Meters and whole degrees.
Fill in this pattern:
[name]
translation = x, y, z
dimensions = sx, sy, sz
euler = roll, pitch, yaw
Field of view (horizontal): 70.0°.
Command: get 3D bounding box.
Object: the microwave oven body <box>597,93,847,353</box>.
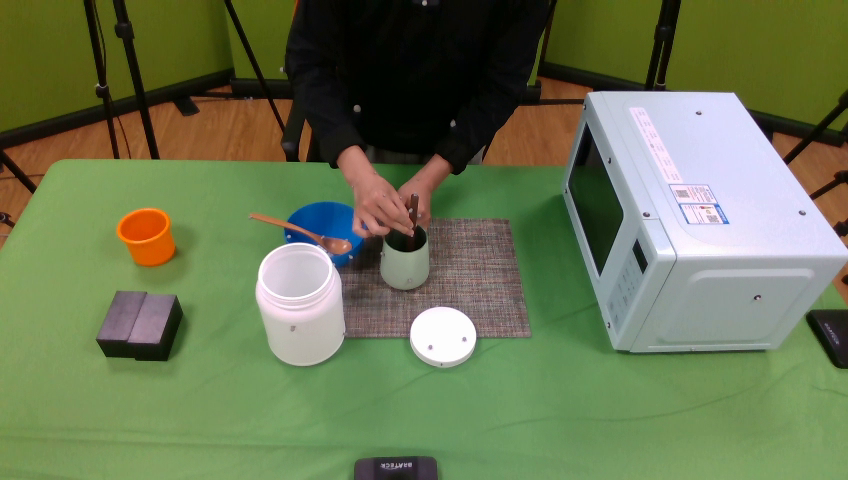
[microwave oven body]
translation = 0.475, -0.041, 1.110
dimensions = 0.326, 0.261, 0.438
euler = -1, 45, -4

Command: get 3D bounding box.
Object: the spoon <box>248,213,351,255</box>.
[spoon]
translation = -0.228, -0.014, 1.113
dimensions = 0.194, 0.022, 0.041
euler = 23, 40, -15

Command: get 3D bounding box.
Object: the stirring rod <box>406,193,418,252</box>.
[stirring rod]
translation = -0.023, -0.014, 1.055
dimensions = 0.014, 0.177, 0.006
euler = 21, 47, 15

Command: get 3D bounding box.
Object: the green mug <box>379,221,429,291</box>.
[green mug]
translation = -0.044, 0.020, 1.116
dimensions = 0.092, 0.105, 0.124
euler = -20, 51, -22

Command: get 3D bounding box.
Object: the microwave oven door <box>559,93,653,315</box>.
[microwave oven door]
translation = 0.327, -0.074, 1.123
dimensions = 0.039, 0.245, 0.353
euler = -1, 46, -5

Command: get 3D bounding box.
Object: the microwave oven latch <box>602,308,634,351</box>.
[microwave oven latch]
translation = 0.332, 0.153, 1.044
dimensions = 0.030, 0.029, 0.078
euler = -1, 45, -4

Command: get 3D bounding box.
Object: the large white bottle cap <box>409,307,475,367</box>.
[large white bottle cap]
translation = 0.031, 0.165, 1.041
dimensions = 0.115, 0.018, 0.114
euler = 2, 47, -2

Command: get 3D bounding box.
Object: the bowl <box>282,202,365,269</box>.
[bowl]
translation = -0.186, 0.006, 1.136
dimensions = 0.151, 0.077, 0.150
euler = 3, 46, -2

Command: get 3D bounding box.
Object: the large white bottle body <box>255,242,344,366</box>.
[large white bottle body]
translation = -0.196, 0.102, 0.967
dimensions = 0.131, 0.185, 0.130
euler = 2, 49, -2
